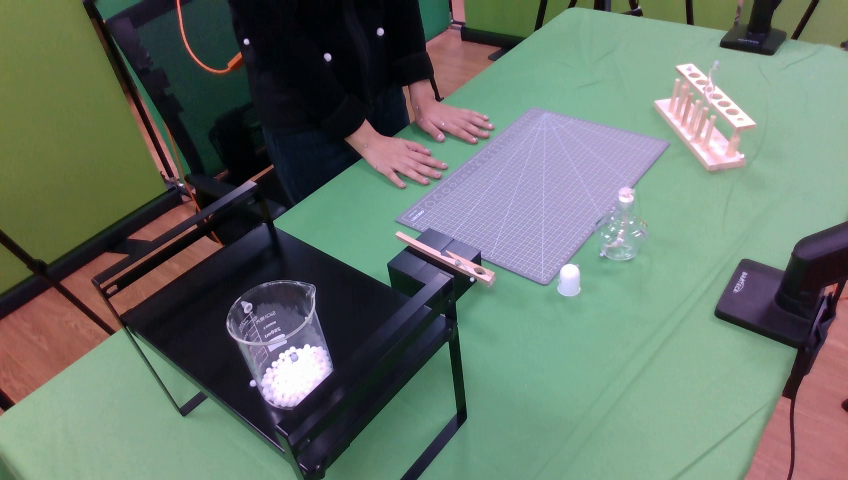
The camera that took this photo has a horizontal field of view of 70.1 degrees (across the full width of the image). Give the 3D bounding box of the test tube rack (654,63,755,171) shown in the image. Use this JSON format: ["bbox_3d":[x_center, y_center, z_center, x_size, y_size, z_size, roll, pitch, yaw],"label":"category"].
[{"bbox_3d":[0.510,-0.233,1.120,0.067,0.085,0.241,-8,41,-1],"label":"test tube rack"}]

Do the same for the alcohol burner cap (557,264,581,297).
[{"bbox_3d":[0.208,0.055,0.866,0.034,0.048,0.033,-4,41,4],"label":"alcohol burner cap"}]

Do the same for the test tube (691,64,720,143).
[{"bbox_3d":[0.492,-0.236,1.056,0.017,0.151,0.017,-3,42,3],"label":"test tube"}]

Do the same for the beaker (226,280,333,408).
[{"bbox_3d":[-0.123,0.096,0.546,0.073,0.101,0.084,27,51,33],"label":"beaker"}]

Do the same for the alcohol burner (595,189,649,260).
[{"bbox_3d":[0.294,-0.028,0.894,0.078,0.119,0.077,-4,43,4],"label":"alcohol burner"}]

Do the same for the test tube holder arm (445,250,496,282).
[{"bbox_3d":[0.063,0.036,0.851,0.087,0.015,0.010,24,57,32],"label":"test tube holder arm"}]

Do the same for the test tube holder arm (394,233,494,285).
[{"bbox_3d":[0.024,0.025,0.872,0.177,0.015,0.013,23,57,31],"label":"test tube holder arm"}]
